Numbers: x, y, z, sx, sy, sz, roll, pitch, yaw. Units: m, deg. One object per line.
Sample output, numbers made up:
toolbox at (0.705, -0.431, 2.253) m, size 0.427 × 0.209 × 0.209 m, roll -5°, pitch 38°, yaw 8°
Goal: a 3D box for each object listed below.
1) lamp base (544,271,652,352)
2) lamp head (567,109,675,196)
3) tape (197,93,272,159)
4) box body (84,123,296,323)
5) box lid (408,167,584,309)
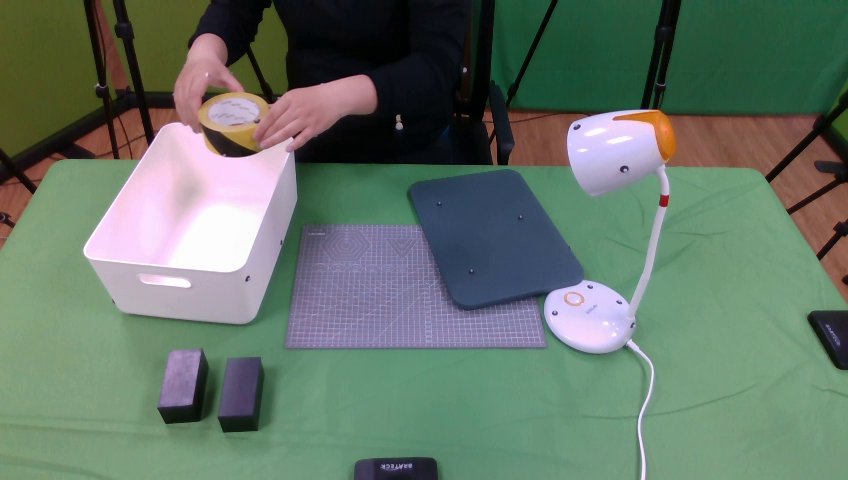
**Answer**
lamp base at (0.310, 0.086, 1.029) m, size 0.178 × 0.181 × 0.160 m, roll 32°, pitch 52°, yaw 21°
lamp head at (0.272, -0.123, 0.818) m, size 0.122 × 0.113 × 0.112 m, roll -9°, pitch 35°, yaw 37°
tape at (-0.309, -0.188, 0.993) m, size 0.117 × 0.053 × 0.116 m, roll 2°, pitch 46°, yaw -2°
box body at (-0.393, -0.035, 1.104) m, size 0.254 × 0.161 × 0.362 m, roll 5°, pitch 46°, yaw 1°
box lid at (0.133, -0.018, 1.223) m, size 0.263 × 0.015 × 0.369 m, roll -11°, pitch 45°, yaw -12°
